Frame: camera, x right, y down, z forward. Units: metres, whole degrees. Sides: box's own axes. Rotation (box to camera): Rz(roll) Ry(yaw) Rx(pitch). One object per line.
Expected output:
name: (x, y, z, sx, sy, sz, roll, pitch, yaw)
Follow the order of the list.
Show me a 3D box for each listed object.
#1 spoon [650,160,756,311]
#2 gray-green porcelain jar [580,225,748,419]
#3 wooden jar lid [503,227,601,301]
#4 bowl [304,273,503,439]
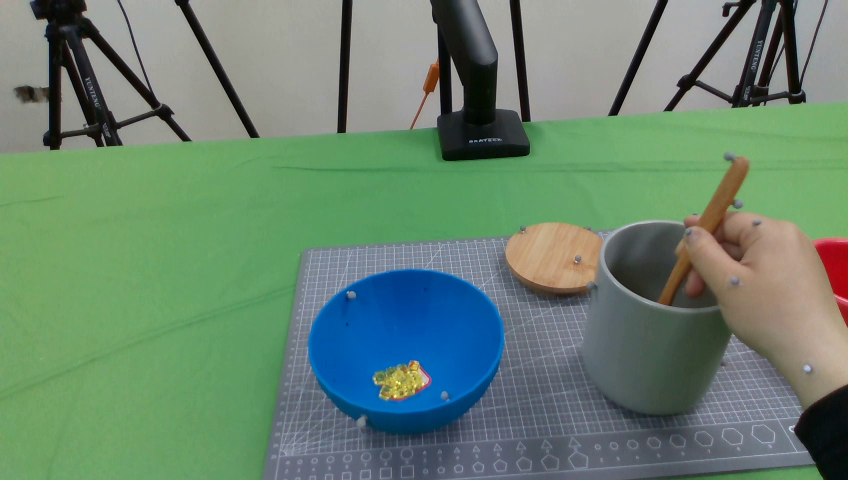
spoon: (0.182, 0.031, 0.435, 0.022, 0.195, 0.041, -4, 37, -32)
gray-green porcelain jar: (0.181, 0.069, 0.477, 0.106, 0.127, 0.105, -2, 38, 2)
wooden jar lid: (0.136, 0.026, 0.625, 0.108, 0.021, 0.107, -2, 36, 2)
bowl: (-0.014, 0.103, 0.483, 0.151, 0.077, 0.150, -1, 38, 1)
